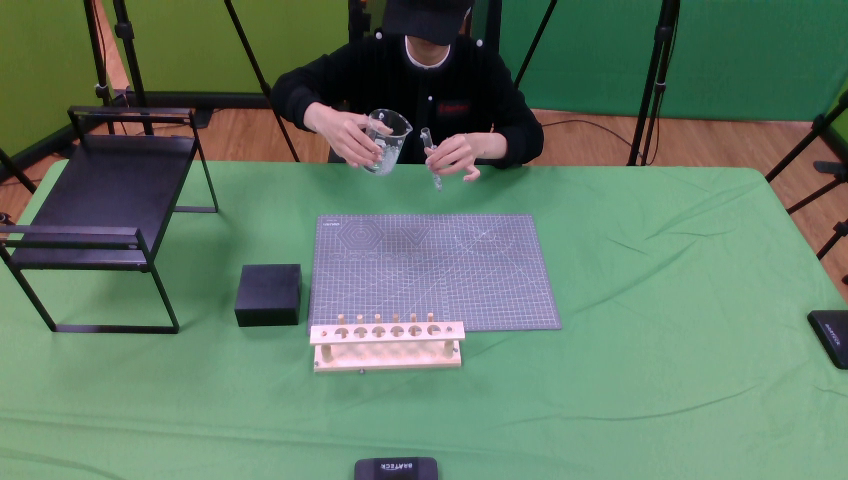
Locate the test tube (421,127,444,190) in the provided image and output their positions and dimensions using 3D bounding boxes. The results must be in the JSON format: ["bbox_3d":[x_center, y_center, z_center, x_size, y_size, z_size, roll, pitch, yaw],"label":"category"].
[{"bbox_3d":[0.017,-0.149,1.124,0.017,0.151,0.017,-7,49,9],"label":"test tube"}]

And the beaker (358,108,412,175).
[{"bbox_3d":[-0.072,-0.171,1.077,0.084,0.100,0.073,2,50,-22],"label":"beaker"}]

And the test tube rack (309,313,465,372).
[{"bbox_3d":[-0.059,0.161,0.990,0.242,0.085,0.066,-1,46,-5],"label":"test tube rack"}]
